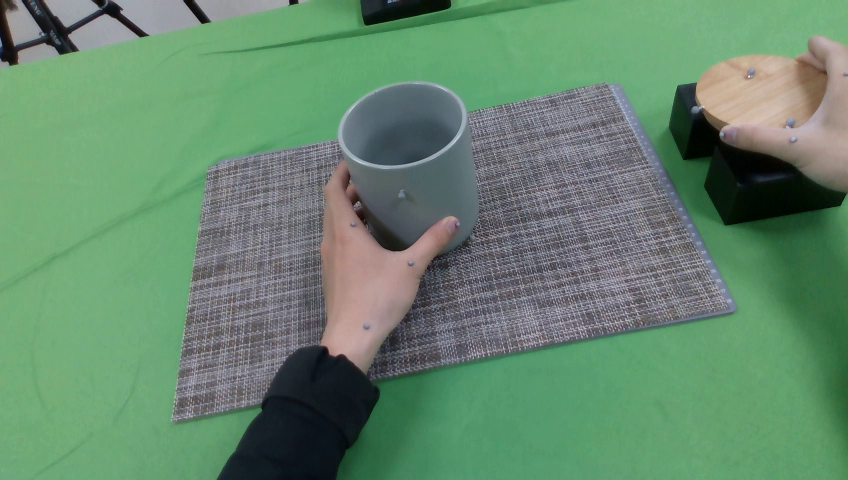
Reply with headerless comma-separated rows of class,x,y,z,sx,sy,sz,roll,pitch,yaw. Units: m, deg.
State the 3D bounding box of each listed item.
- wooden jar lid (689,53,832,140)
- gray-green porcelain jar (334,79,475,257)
wooden jar lid,0.285,-0.122,0.518,0.108,0.021,0.107,-7,49,9
gray-green porcelain jar,-0.011,-0.055,0.525,0.106,0.128,0.105,-5,51,7
